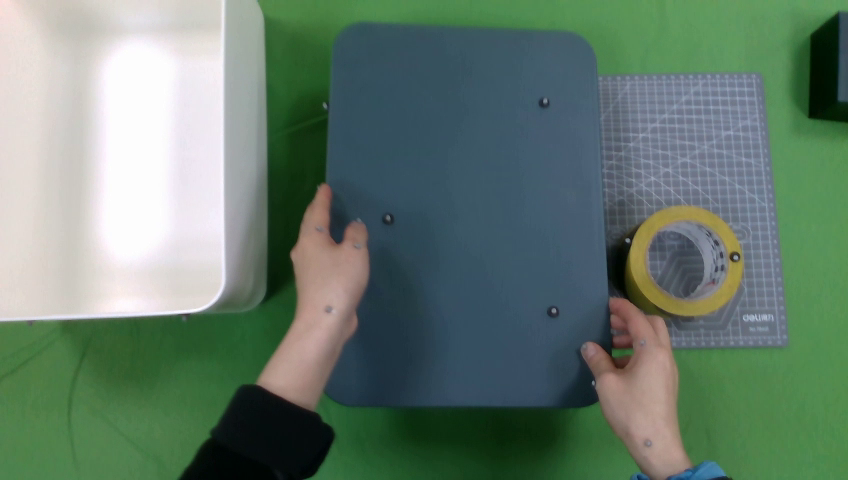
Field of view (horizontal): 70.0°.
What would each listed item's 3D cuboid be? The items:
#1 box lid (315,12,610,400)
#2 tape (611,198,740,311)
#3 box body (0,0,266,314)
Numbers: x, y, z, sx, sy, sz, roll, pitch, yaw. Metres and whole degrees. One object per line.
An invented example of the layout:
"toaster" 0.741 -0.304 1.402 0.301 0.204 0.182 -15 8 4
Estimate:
"box lid" 0.037 -0.041 0.564 0.264 0.015 0.370 1 79 -4
"tape" 0.257 0.017 0.621 0.117 0.053 0.116 0 82 1
"box body" -0.294 -0.109 0.589 0.254 0.161 0.363 -3 82 0
